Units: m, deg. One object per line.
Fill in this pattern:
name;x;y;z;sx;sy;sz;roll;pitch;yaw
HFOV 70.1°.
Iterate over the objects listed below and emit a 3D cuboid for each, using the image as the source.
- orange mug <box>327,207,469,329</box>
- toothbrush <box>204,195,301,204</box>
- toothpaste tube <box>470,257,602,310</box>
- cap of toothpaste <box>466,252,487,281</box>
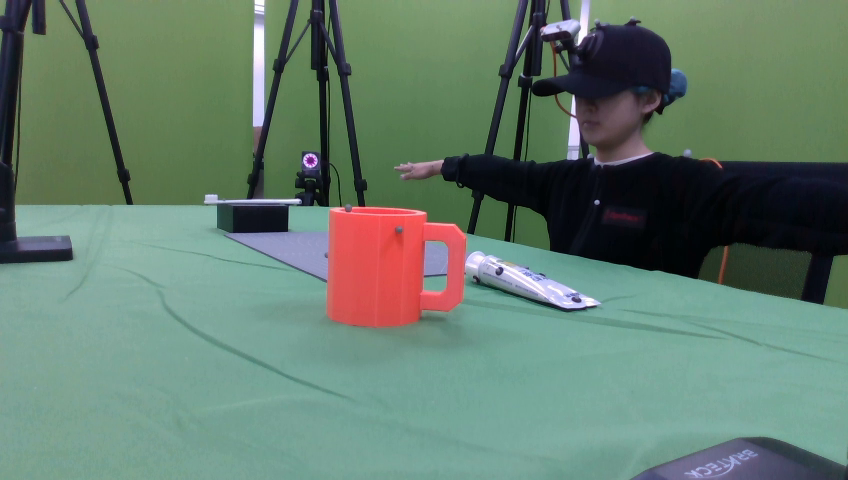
orange mug;-0.024;0.021;0.535;0.126;0.100;0.083;-1;6;8
toothbrush;-0.314;-0.074;1.120;0.183;0.016;0.014;-2;4;-36
toothpaste tube;0.110;0.049;0.658;0.055;0.034;0.164;-8;16;-37
cap of toothpaste;0.064;0.032;0.720;0.037;0.037;0.011;-3;13;-39
